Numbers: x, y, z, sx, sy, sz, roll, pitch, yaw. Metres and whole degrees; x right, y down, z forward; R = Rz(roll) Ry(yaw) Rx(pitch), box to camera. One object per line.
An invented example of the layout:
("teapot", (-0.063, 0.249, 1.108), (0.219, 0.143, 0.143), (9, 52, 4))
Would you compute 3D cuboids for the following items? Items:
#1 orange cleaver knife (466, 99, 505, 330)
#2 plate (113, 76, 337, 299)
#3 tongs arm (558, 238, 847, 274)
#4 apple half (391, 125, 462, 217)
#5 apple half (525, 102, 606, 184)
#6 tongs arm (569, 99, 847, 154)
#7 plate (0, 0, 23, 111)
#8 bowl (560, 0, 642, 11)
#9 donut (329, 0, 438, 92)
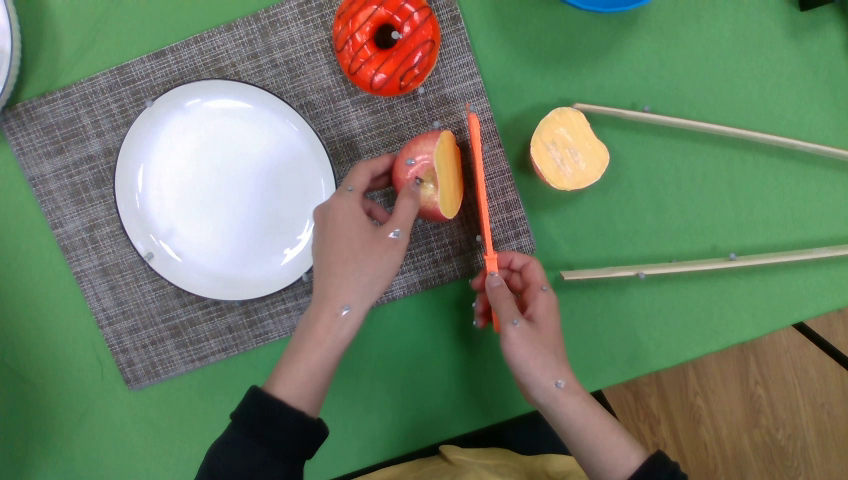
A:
("orange cleaver knife", (0.055, -0.023, 0.561), (0.012, 0.077, 0.212), (-8, 103, 3))
("plate", (-0.184, -0.048, 0.577), (0.209, 0.038, 0.210), (0, 102, 1))
("tongs arm", (0.324, -0.005, 0.588), (0.385, 0.026, 0.051), (-4, 97, 0))
("apple half", (0.000, -0.062, 0.545), (0.053, 0.074, 0.081), (0, 112, 22))
("apple half", (0.127, -0.086, 0.571), (0.081, 0.033, 0.081), (2, 81, -12))
("tongs arm", (0.326, -0.091, 0.573), (0.388, 0.027, 0.028), (11, 94, -2))
("plate", (-0.467, -0.191, 0.554), (0.208, 0.039, 0.208), (0, 102, 0))
("bowl", (0.147, -0.268, 0.513), (0.151, 0.076, 0.152), (0, 102, 1))
("donut", (-0.036, -0.184, 0.545), (0.099, 0.048, 0.099), (0, 103, 2))
